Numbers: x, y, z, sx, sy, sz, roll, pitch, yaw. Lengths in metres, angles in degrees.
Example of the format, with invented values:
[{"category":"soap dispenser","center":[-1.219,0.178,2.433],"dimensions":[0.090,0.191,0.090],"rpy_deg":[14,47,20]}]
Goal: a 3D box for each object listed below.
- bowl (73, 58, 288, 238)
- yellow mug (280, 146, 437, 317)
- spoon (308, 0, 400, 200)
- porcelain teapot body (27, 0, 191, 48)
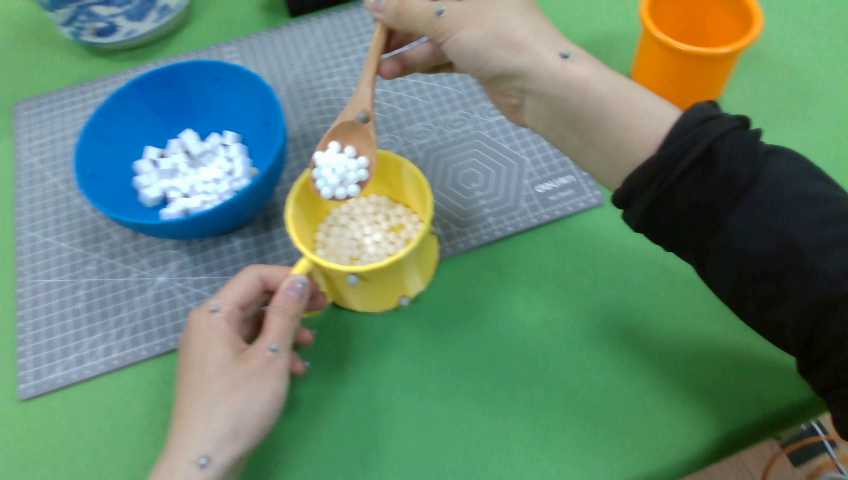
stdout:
[{"category":"bowl","center":[-0.170,-0.056,0.460],"dimensions":[0.151,0.077,0.150],"rpy_deg":[-2,60,3]},{"category":"yellow mug","center":[-0.052,0.002,0.425],"dimensions":[0.099,0.064,0.130],"rpy_deg":[33,68,21]},{"category":"spoon","center":[-0.029,-0.118,0.376],"dimensions":[0.041,0.022,0.194],"rpy_deg":[19,95,12]},{"category":"porcelain teapot body","center":[-0.333,-0.285,0.523],"dimensions":[0.205,0.227,0.144],"rpy_deg":[-14,60,-3]}]
